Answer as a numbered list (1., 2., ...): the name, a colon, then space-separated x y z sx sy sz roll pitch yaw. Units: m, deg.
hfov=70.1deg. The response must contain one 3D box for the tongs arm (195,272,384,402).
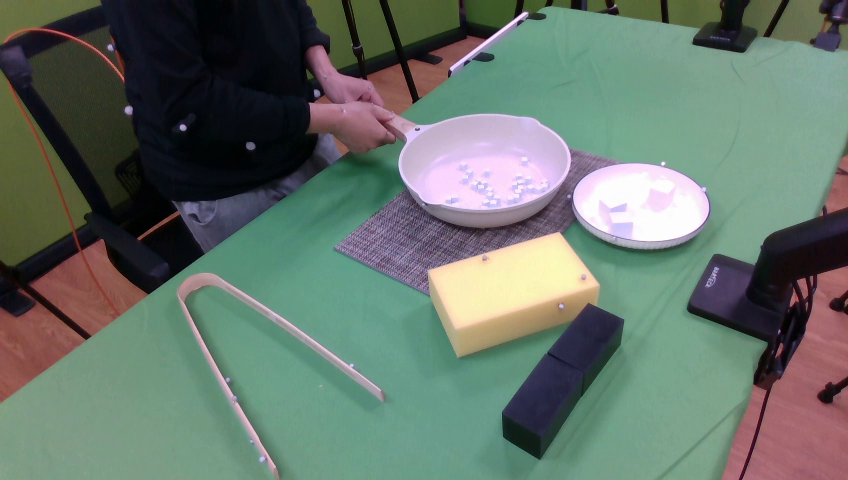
1. tongs arm: -0.199 0.125 0.846 0.384 0.028 0.028 25 53 32

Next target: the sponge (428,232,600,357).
1. sponge: 0.120 0.071 0.834 0.207 0.061 0.117 -15 43 -12

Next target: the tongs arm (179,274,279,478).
1. tongs arm: -0.260 0.161 0.807 0.051 0.026 0.381 -29 44 -25

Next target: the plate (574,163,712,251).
1. plate: 0.345 -0.050 0.966 0.207 0.039 0.206 -4 40 4

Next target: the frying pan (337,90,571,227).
1. frying pan: 0.024 -0.172 1.086 0.484 0.103 0.308 33 52 25
